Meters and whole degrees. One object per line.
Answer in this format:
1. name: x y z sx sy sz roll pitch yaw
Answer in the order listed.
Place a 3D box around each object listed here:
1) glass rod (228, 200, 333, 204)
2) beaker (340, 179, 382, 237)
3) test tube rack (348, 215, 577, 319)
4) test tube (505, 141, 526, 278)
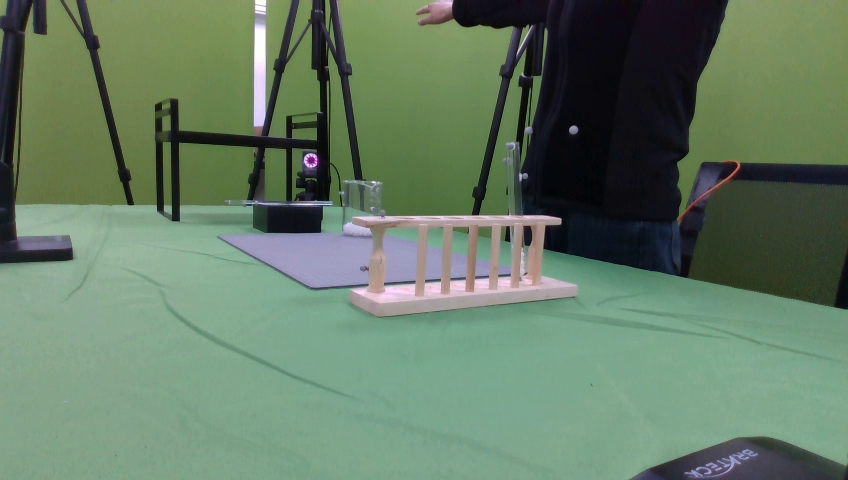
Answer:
1. glass rod: -0.268 -0.071 1.143 0.201 0.008 0.008 -1 8 -29
2. beaker: -0.113 -0.058 1.094 0.074 0.100 0.083 -2 10 -29
3. test tube rack: 0.048 0.021 0.619 0.244 0.085 0.066 -2 9 -31
4. test tube: 0.101 -0.032 0.664 0.017 0.150 0.017 -5 8 1
